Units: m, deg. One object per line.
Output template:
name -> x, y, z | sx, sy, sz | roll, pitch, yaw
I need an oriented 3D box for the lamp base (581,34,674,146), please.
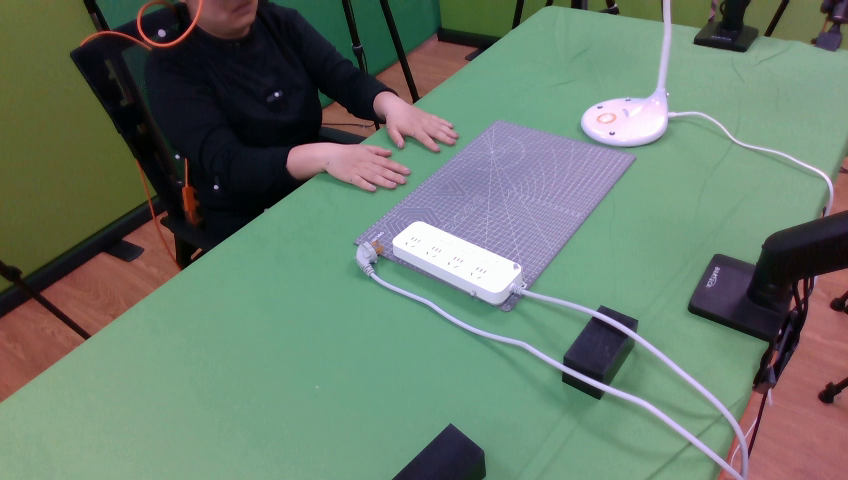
lamp base -> 0.392, -0.291, 1.129 | 0.180, 0.181, 0.159 | -11, 41, -8

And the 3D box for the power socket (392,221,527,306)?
power socket -> 0.046, 0.031, 0.913 | 0.225, 0.033, 0.072 | 25, 51, 32

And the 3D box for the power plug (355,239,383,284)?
power plug -> -0.078, 0.033, 0.947 | 0.053, 0.035, 0.072 | -33, 82, -22
